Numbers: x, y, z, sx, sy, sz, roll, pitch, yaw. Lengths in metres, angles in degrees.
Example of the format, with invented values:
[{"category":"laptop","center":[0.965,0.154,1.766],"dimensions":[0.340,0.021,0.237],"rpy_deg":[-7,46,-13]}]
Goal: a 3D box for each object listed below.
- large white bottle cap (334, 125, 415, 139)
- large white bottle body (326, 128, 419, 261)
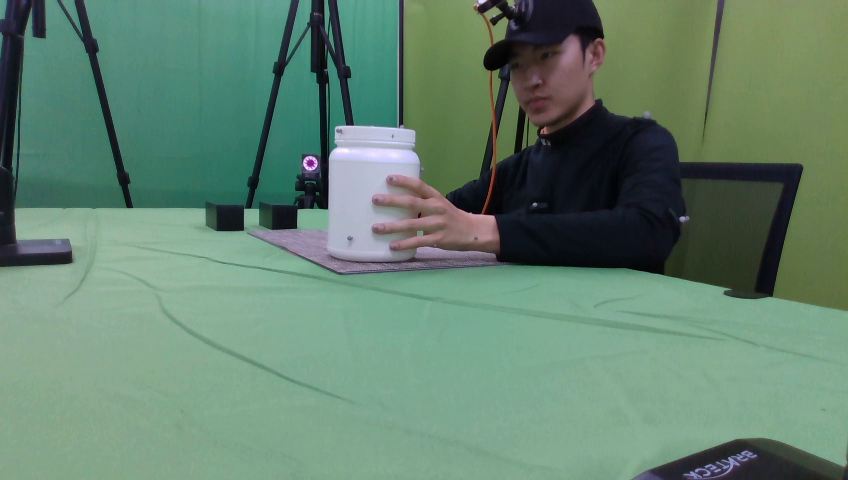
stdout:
[{"category":"large white bottle cap","center":[-0.070,-0.152,0.858],"dimensions":[0.115,0.018,0.115],"rpy_deg":[2,8,0]},{"category":"large white bottle body","center":[-0.073,-0.069,0.870],"dimensions":[0.131,0.184,0.130],"rpy_deg":[2,8,0]}]
